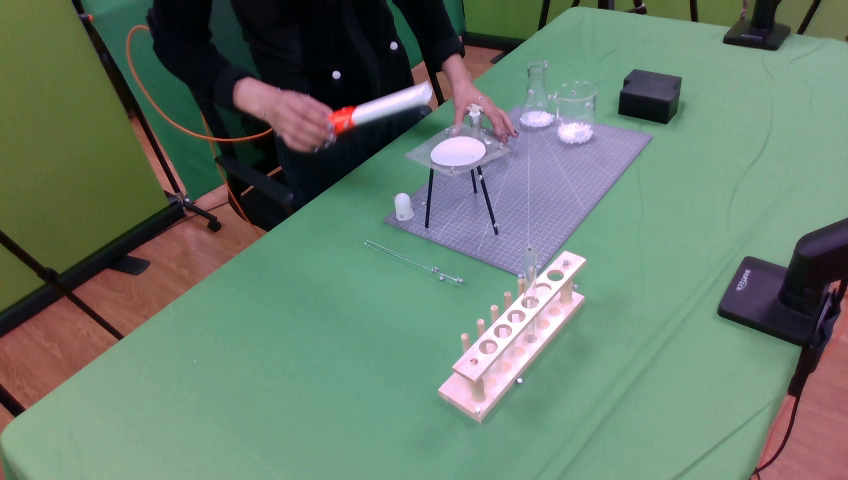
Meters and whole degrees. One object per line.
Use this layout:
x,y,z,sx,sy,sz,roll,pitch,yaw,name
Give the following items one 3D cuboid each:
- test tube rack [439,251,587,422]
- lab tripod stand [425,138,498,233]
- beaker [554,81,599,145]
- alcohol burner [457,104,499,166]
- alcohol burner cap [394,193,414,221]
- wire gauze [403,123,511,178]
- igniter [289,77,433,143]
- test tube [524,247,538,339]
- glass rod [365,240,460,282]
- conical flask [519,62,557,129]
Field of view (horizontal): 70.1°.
0.118,0.111,0.780,0.066,0.085,0.243,26,51,34,test tube rack
0.063,-0.091,0.988,0.148,0.132,0.147,-6,38,6,lab tripod stand
0.286,-0.237,1.144,0.084,0.101,0.073,-17,40,-7,beaker
0.099,-0.198,1.124,0.078,0.119,0.077,-5,38,4,alcohol burner
-0.036,-0.059,1.040,0.034,0.048,0.033,-5,41,5,alcohol burner cap
0.051,-0.140,0.943,0.125,0.011,0.120,-31,43,-25,wire gauze
-0.104,-0.189,0.901,0.275,0.025,0.057,-10,37,35,igniter
0.133,0.070,0.749,0.017,0.151,0.017,-5,38,4,test tube
-0.022,0.032,0.961,0.198,0.008,0.008,21,49,35,glass rod
0.225,-0.288,1.198,0.075,0.122,0.075,-6,40,5,conical flask
